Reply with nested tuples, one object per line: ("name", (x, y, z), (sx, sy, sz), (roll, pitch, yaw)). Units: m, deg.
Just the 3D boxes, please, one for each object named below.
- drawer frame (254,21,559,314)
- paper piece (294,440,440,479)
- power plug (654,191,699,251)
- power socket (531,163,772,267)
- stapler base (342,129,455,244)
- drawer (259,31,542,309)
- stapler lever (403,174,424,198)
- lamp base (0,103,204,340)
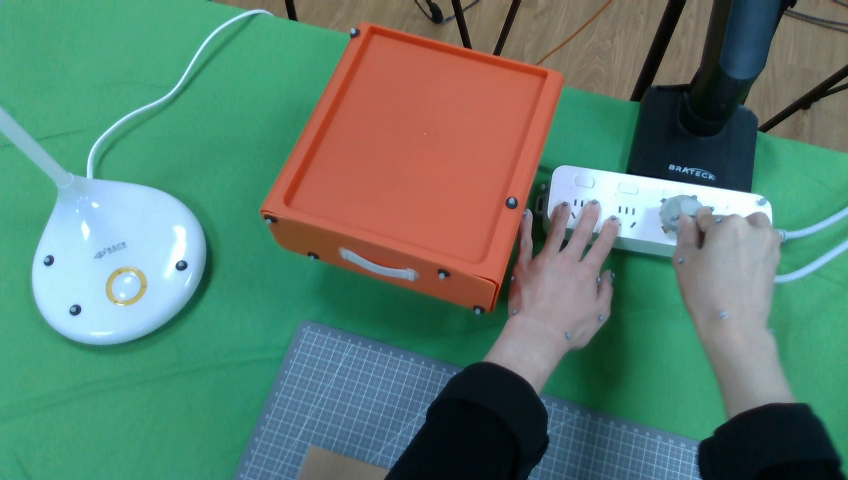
("drawer frame", (-0.008, -0.070, 0.534), (0.201, 0.083, 0.212), (17, 65, 9))
("paper piece", (-0.053, 0.243, 0.477), (0.135, 0.009, 0.137), (15, 67, 11))
("power plug", (0.223, -0.013, 0.545), (0.035, 0.053, 0.072), (21, 60, 9))
("power socket", (0.219, -0.025, 0.587), (0.226, 0.033, 0.072), (10, 67, 5))
("stapler base", (-0.026, -0.052, 0.546), (0.041, 0.024, 0.129), (-44, 69, 0))
("drawer", (-0.007, -0.067, 0.534), (0.194, 0.074, 0.210), (17, 66, 9))
("stapler lever", (-0.036, -0.060, 0.522), (0.027, 0.040, 0.117), (-44, 67, 0))
("lamp base", (-0.300, -0.024, 0.510), (0.160, 0.181, 0.177), (-36, 67, -15))
